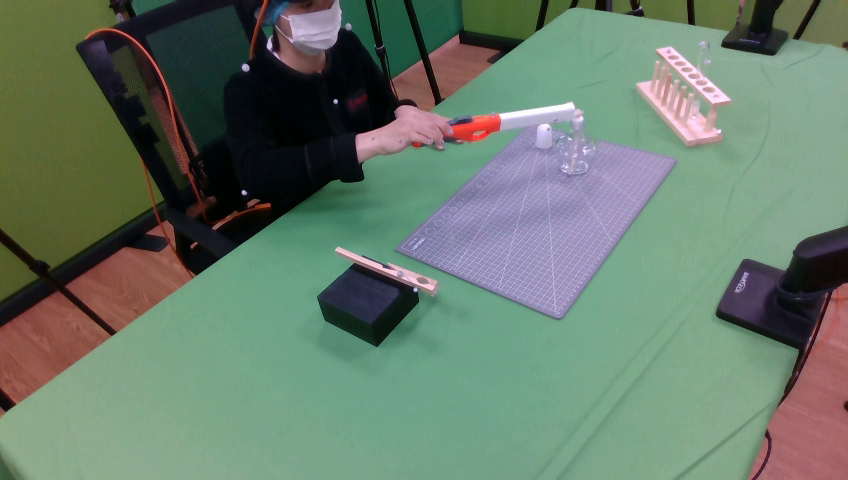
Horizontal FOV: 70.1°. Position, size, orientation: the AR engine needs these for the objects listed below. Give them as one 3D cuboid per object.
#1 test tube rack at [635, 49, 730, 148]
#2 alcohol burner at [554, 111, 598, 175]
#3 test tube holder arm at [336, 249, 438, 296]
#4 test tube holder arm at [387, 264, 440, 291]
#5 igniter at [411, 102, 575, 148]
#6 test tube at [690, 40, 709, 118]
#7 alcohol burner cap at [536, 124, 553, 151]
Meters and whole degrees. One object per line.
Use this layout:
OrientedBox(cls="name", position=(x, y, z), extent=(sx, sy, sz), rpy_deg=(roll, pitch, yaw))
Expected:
OrientedBox(cls="test tube rack", position=(0.497, -0.283, 1.185), extent=(0.067, 0.085, 0.240), rpy_deg=(-10, 40, -2))
OrientedBox(cls="alcohol burner", position=(0.270, -0.175, 1.066), extent=(0.078, 0.119, 0.077), rpy_deg=(-4, 42, 4))
OrientedBox(cls="test tube holder arm", position=(-0.057, 0.044, 0.861), extent=(0.177, 0.015, 0.013), rpy_deg=(18, 56, 29))
OrientedBox(cls="test tube holder arm", position=(-0.017, 0.052, 0.842), extent=(0.087, 0.015, 0.010), rpy_deg=(18, 56, 29))
OrientedBox(cls="igniter", position=(0.113, -0.190, 0.998), extent=(0.277, 0.057, 0.025), rpy_deg=(-11, 55, -7))
OrientedBox(cls="test tube", position=(0.510, -0.295, 1.120), extent=(0.017, 0.151, 0.017), rpy_deg=(-6, 39, 6))
OrientedBox(cls="alcohol burner cap", position=(0.232, -0.199, 1.158), extent=(0.034, 0.048, 0.033), rpy_deg=(-4, 40, 4))
